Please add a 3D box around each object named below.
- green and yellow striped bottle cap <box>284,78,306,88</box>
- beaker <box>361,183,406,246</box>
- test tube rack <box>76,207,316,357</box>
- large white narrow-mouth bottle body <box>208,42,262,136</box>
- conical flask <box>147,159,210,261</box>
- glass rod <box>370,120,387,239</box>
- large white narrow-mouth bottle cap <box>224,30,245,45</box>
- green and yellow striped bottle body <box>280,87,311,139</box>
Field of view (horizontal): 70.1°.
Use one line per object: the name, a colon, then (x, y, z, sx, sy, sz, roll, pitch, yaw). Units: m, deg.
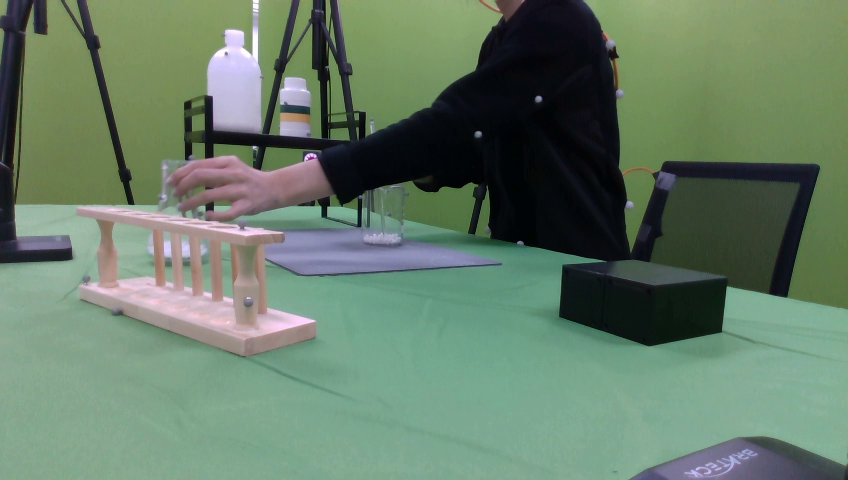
green and yellow striped bottle cap: (-0.268, -0.325, 1.259, 0.045, 0.020, 0.045, 5, 7, 0)
beaker: (-0.067, -0.042, 0.993, 0.074, 0.100, 0.084, 1, 8, -8)
test tube rack: (-0.196, 0.023, 0.500, 0.241, 0.085, 0.067, 8, 9, 36)
large white narrow-mouth bottle body: (-0.369, -0.303, 1.180, 0.102, 0.194, 0.101, 3, 9, 0)
conical flask: (-0.303, -0.038, 0.749, 0.075, 0.122, 0.075, 3, 9, 0)
glass rod: (-0.077, -0.101, 1.005, 0.008, 0.199, 0.008, -6, -3, 0)
large white narrow-mouth bottle cap: (-0.365, -0.389, 1.166, 0.038, 0.024, 0.037, 3, 9, 0)
green and yellow striped bottle body: (-0.269, -0.274, 1.266, 0.063, 0.119, 0.063, 3, 7, 0)
